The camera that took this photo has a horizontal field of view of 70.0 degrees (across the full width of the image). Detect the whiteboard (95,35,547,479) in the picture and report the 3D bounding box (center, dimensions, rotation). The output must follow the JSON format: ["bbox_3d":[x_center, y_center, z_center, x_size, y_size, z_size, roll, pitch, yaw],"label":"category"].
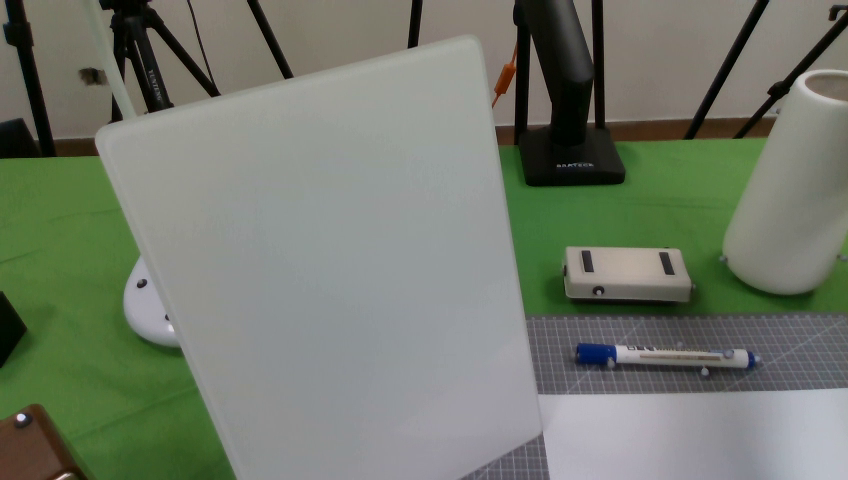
[{"bbox_3d":[-0.058,0.035,0.436,0.217,0.307,0.142,-20,23,-19],"label":"whiteboard"}]

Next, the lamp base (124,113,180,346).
[{"bbox_3d":[-0.229,-0.020,0.569,0.177,0.182,0.160,28,48,35],"label":"lamp base"}]

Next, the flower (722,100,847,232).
[{"bbox_3d":[0.344,-0.117,0.470,0.038,0.364,0.044,40,53,15],"label":"flower"}]

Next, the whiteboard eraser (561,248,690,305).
[{"bbox_3d":[0.191,0.036,0.583,0.112,0.042,0.055,0,38,5],"label":"whiteboard eraser"}]

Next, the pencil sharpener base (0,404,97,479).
[{"bbox_3d":[-0.248,0.171,0.393,0.061,0.108,0.076,-33,47,-31],"label":"pencil sharpener base"}]

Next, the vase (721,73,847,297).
[{"bbox_3d":[0.342,-0.043,0.546,0.098,0.202,0.097,-1,39,1],"label":"vase"}]

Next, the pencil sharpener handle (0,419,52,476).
[{"bbox_3d":[-0.283,0.139,0.415,0.036,0.068,0.030,-39,50,-25],"label":"pencil sharpener handle"}]

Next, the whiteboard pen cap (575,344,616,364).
[{"bbox_3d":[0.148,0.099,0.523,0.033,0.018,0.018,3,39,4],"label":"whiteboard pen cap"}]

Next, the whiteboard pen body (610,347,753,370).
[{"bbox_3d":[0.207,0.101,0.518,0.140,0.017,0.017,1,39,5],"label":"whiteboard pen body"}]
